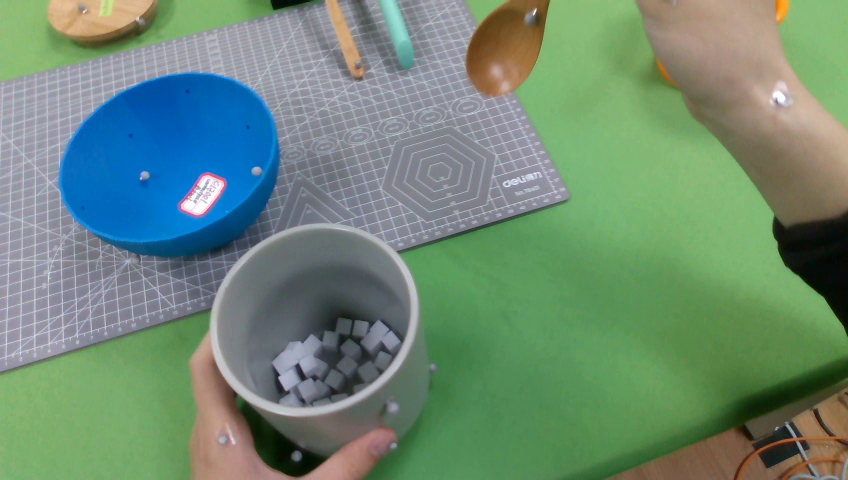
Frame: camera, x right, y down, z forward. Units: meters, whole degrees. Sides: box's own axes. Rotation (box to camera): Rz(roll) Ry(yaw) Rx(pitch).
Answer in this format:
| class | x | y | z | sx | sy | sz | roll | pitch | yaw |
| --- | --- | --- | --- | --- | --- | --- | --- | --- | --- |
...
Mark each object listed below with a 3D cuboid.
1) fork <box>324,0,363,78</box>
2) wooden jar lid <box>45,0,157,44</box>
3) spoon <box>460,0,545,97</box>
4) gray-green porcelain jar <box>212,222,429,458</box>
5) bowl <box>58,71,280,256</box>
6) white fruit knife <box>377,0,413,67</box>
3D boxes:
| class | x | y | z | sx | sy | sz | roll | pitch | yaw |
| --- | --- | --- | --- | --- | --- | --- | --- | --- | --- |
| fork | -0.095 | -0.242 | 0.560 | 0.028 | 0.019 | 0.206 | -19 | 79 | -13 |
| wooden jar lid | -0.317 | -0.235 | 0.604 | 0.108 | 0.021 | 0.107 | 0 | 60 | 1 |
| spoon | 0.068 | -0.142 | 0.294 | 0.041 | 0.194 | 0.021 | 38 | 55 | 1 |
| gray-green porcelain jar | -0.051 | 0.066 | 0.356 | 0.106 | 0.127 | 0.105 | -1 | 60 | 3 |
| bowl | -0.174 | -0.044 | 0.450 | 0.151 | 0.077 | 0.150 | -1 | 60 | 2 |
| white fruit knife | -0.048 | -0.255 | 0.566 | 0.016 | 0.027 | 0.206 | -17 | 74 | -8 |
